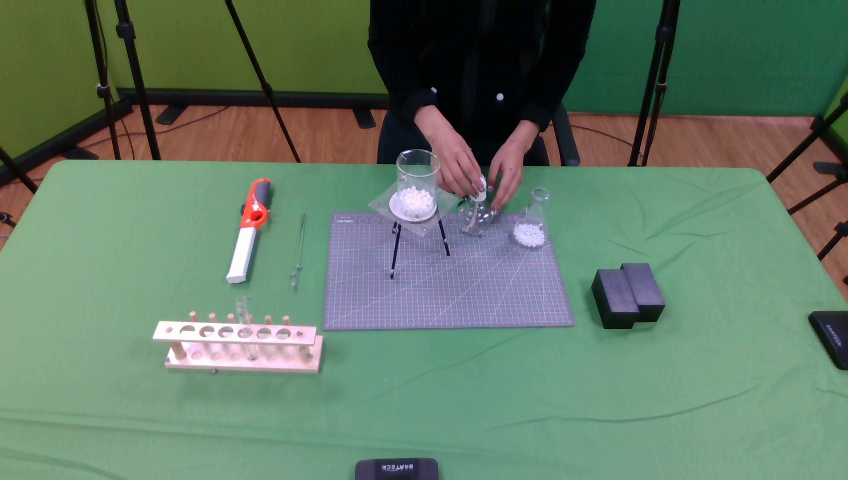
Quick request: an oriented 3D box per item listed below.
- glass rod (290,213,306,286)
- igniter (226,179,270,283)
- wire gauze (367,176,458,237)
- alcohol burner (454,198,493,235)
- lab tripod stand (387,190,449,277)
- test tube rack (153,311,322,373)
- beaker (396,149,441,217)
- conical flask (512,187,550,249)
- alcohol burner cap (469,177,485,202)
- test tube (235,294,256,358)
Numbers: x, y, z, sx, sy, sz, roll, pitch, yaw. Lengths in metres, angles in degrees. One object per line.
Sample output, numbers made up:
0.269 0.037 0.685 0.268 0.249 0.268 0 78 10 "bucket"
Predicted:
-0.244 0.015 1.175 0.008 0.008 0.198 1 43 -3 "glass rod"
-0.345 -0.027 1.195 0.057 0.025 0.274 -6 46 5 "igniter"
-0.020 -0.066 1.089 0.124 0.011 0.121 27 47 22 "wire gauze"
0.101 -0.067 1.205 0.078 0.119 0.077 4 45 -4 "alcohol burner"
-0.021 -0.018 1.135 0.148 0.132 0.147 3 44 -3 "lab tripod stand"
-0.293 0.160 0.978 0.242 0.085 0.066 3 46 -2 "test tube rack"
-0.015 -0.098 1.053 0.074 0.101 0.083 -31 55 -30 "beaker"
0.217 -0.048 1.190 0.075 0.122 0.075 2 46 -2 "conical flask"
0.103 -0.099 1.168 0.034 0.048 0.033 0 52 0 "alcohol burner cap"
-0.274 0.136 0.933 0.017 0.151 0.017 4 46 -4 "test tube"
